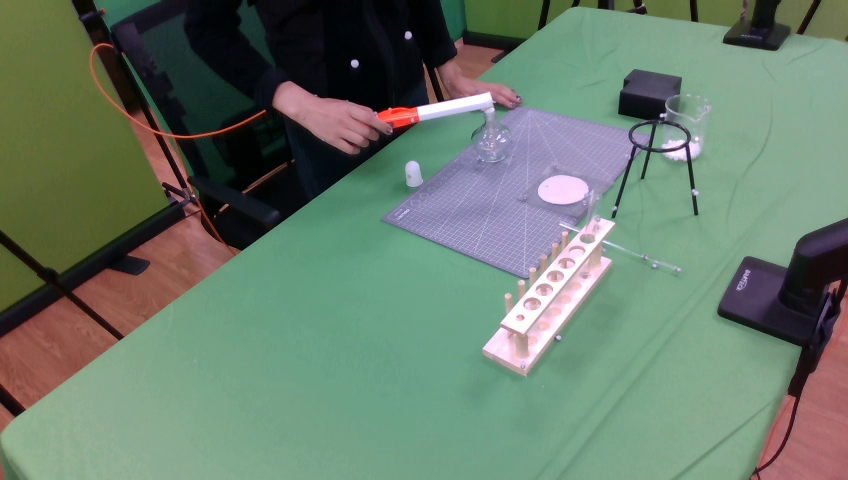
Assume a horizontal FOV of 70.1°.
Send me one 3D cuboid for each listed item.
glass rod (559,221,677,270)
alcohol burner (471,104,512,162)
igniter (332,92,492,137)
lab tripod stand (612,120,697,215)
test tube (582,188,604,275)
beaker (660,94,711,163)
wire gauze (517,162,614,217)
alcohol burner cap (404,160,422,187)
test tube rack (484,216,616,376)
[{"bbox_3d":[0.292,0.007,0.927,0.198,0.008,0.008,26,52,36],"label":"glass rod"},{"bbox_3d":[0.125,-0.207,1.126,0.078,0.119,0.077,-5,43,5],"label":"alcohol burner"},{"bbox_3d":[-0.022,-0.215,1.034,0.276,0.025,0.057,-11,40,2],"label":"igniter"},{"bbox_3d":[0.369,-0.112,0.958,0.148,0.132,0.147,-4,40,4],"label":"lab tripod stand"},{"bbox_3d":[0.228,-0.007,0.821,0.017,0.151,0.017,-3,42,3],"label":"test tube"},{"bbox_3d":[0.457,-0.192,1.063,0.074,0.101,0.083,-7,41,4],"label":"beaker"},{"bbox_3d":[0.245,-0.088,1.046,0.120,0.011,0.125,25,50,32],"label":"wire gauze"},{"bbox_3d":[-0.023,-0.125,1.118,0.034,0.048,0.033,-4,40,4],"label":"alcohol burner cap"},{"bbox_3d":[0.174,0.064,0.823,0.066,0.085,0.243,23,49,32],"label":"test tube rack"}]
